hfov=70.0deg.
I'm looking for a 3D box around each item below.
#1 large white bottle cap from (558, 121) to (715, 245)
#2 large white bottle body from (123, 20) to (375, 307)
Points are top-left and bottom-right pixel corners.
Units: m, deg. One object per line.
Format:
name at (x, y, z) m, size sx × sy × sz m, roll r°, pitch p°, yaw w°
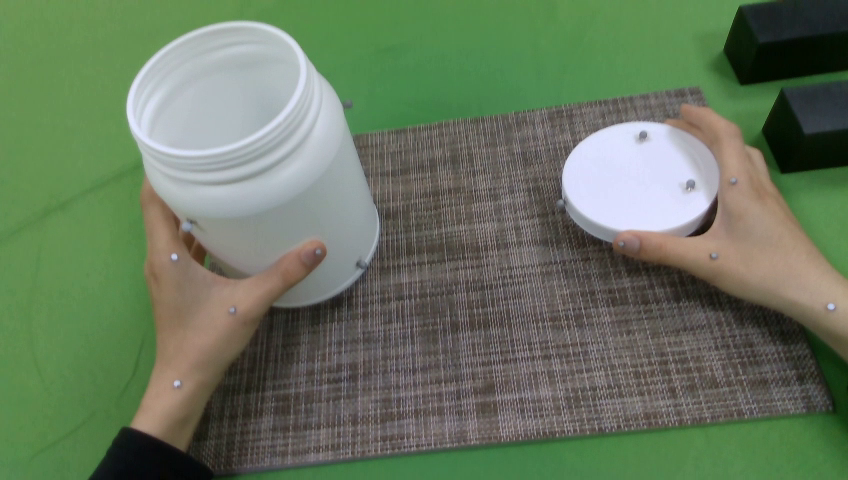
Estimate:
large white bottle cap at (0.162, -0.047, 0.467) m, size 0.114 × 0.018 × 0.113 m, roll -7°, pitch 53°, yaw 10°
large white bottle body at (-0.113, -0.046, 0.430) m, size 0.130 × 0.186 × 0.129 m, roll -3°, pitch 60°, yaw 5°
